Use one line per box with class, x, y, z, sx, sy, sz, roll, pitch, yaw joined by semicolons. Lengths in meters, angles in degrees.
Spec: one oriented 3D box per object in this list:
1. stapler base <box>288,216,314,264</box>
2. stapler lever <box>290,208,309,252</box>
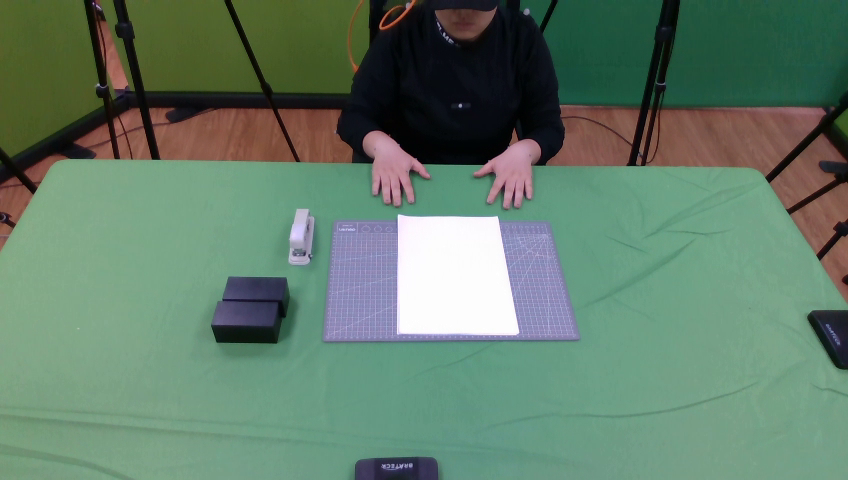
stapler base;-0.241;-0.007;1.185;0.041;0.024;0.129;1;44;-6
stapler lever;-0.240;-0.026;1.168;0.027;0.040;0.117;1;44;-6
